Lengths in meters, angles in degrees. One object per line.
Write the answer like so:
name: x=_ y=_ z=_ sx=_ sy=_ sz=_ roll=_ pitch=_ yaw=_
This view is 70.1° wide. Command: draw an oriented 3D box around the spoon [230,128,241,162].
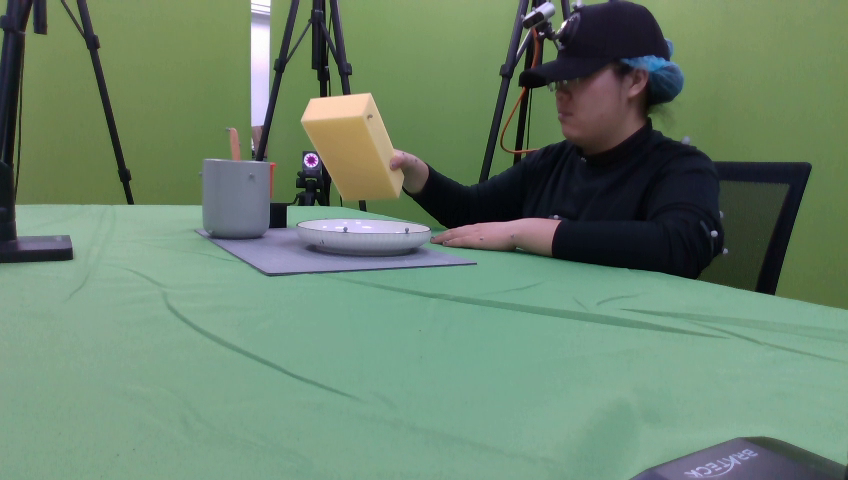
spoon: x=-0.314 y=-0.109 z=1.025 sx=0.042 sy=0.193 sz=0.021 roll=-5 pitch=-19 yaw=-16

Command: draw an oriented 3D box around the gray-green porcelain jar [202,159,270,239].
gray-green porcelain jar: x=-0.310 y=-0.068 z=0.999 sx=0.106 sy=0.126 sz=0.106 roll=3 pitch=8 yaw=0

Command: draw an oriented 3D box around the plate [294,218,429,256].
plate: x=-0.096 y=-0.005 z=0.936 sx=0.208 sy=0.039 sz=0.207 roll=3 pitch=7 yaw=0

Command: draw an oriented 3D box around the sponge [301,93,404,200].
sponge: x=-0.124 y=-0.163 z=1.102 sx=0.118 sy=0.061 sz=0.207 roll=0 pitch=-38 yaw=18
